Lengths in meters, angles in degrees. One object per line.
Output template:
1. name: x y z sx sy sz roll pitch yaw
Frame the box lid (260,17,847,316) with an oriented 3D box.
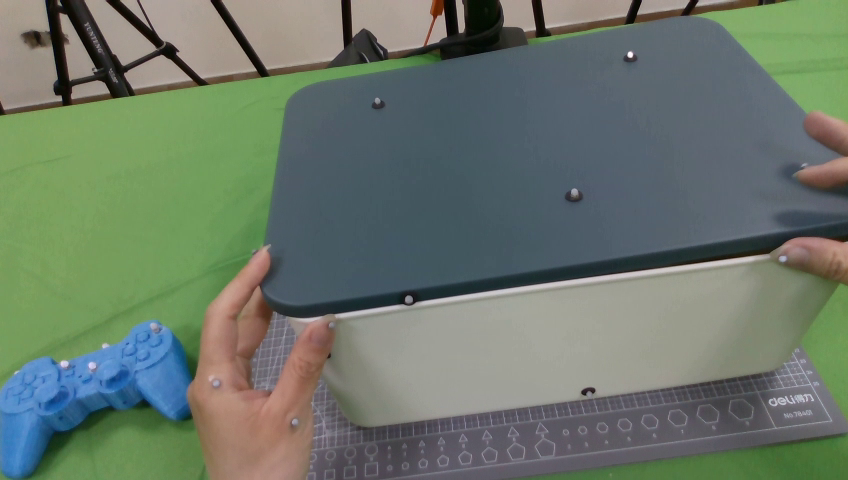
1. box lid: 0.073 -0.072 0.433 0.371 0.015 0.260 -9 44 2

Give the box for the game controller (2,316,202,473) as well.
1. game controller: -0.270 0.119 0.503 0.155 0.052 0.096 -18 43 -9

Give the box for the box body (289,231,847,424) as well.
1. box body: 0.092 -0.013 0.485 0.364 0.162 0.251 -8 46 1
